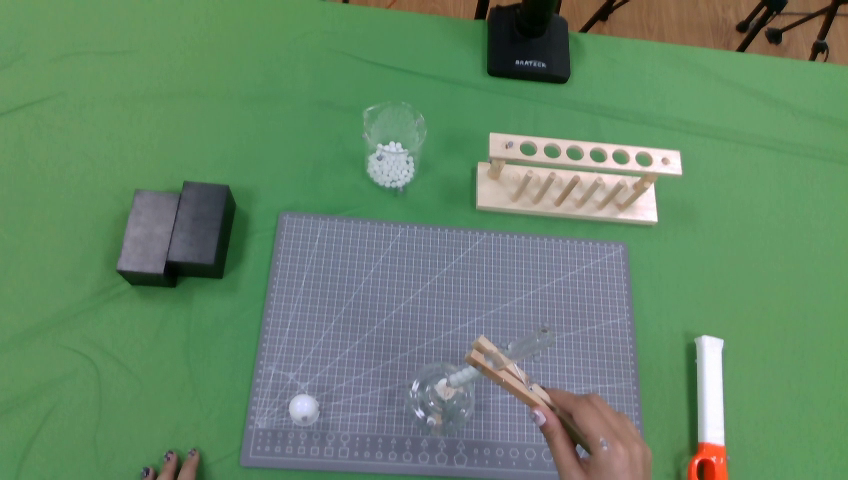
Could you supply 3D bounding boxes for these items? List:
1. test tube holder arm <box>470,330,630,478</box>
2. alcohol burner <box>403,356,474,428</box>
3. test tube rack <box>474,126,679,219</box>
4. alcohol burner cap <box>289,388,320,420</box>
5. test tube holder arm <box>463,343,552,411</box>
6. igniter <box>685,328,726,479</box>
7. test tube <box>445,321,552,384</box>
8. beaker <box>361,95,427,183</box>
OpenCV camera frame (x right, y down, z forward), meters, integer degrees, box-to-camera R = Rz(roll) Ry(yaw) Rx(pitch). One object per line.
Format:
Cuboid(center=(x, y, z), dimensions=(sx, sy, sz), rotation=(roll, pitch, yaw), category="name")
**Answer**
Cuboid(center=(0.107, 0.140, 0.511), dimensions=(0.179, 0.015, 0.013), rotation=(42, 56, -5), category="test tube holder arm")
Cuboid(center=(0.018, 0.158, 0.641), dimensions=(0.078, 0.120, 0.077), rotation=(3, 66, -7), category="alcohol burner")
Cuboid(center=(0.192, -0.084, 0.776), dimensions=(0.243, 0.085, 0.066), rotation=(5, 68, -5), category="test tube rack")
Cuboid(center=(-0.130, 0.175, 0.654), dimensions=(0.034, 0.048, 0.033), rotation=(3, 69, -7), category="alcohol burner cap")
Cuboid(center=(0.070, 0.115, 0.503), dimensions=(0.088, 0.015, 0.010), rotation=(35, 56, -9), category="test tube holder arm")
Cuboid(center=(0.328, 0.238, 0.700), dimensions=(0.057, 0.025, 0.274), rotation=(15, 68, -12), category="igniter")
Cuboid(center=(0.056, 0.096, 0.501), dimensions=(0.017, 0.150, 0.017), rotation=(12, 61, -23), category="test tube")
Cuboid(center=(-0.043, -0.123, 0.754), dimensions=(0.084, 0.101, 0.074), rotation=(31, 68, 7), category="beaker")
